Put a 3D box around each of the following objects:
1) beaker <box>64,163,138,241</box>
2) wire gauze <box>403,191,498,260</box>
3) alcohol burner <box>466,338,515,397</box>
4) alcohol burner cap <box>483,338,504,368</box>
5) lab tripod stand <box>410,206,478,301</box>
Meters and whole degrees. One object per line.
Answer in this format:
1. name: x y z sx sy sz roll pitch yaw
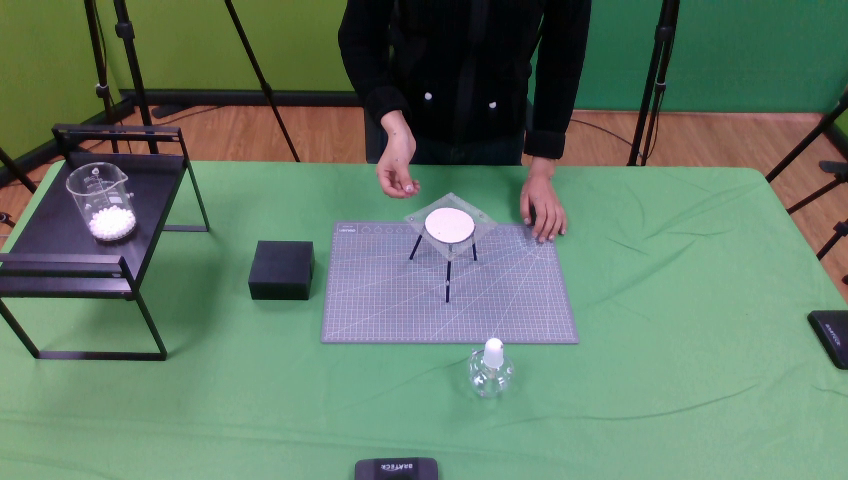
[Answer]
1. beaker: -0.478 -0.055 0.910 0.084 0.101 0.073 -9 48 -13
2. wire gauze: 0.046 -0.032 1.053 0.121 0.011 0.124 -32 55 -29
3. alcohol burner: 0.106 0.195 0.952 0.078 0.120 0.077 1 46 0
4. alcohol burner cap: 0.108 0.170 0.928 0.034 0.048 0.033 -1 41 1
5. lab tripod stand: 0.040 0.015 1.101 0.148 0.132 0.147 0 47 0
